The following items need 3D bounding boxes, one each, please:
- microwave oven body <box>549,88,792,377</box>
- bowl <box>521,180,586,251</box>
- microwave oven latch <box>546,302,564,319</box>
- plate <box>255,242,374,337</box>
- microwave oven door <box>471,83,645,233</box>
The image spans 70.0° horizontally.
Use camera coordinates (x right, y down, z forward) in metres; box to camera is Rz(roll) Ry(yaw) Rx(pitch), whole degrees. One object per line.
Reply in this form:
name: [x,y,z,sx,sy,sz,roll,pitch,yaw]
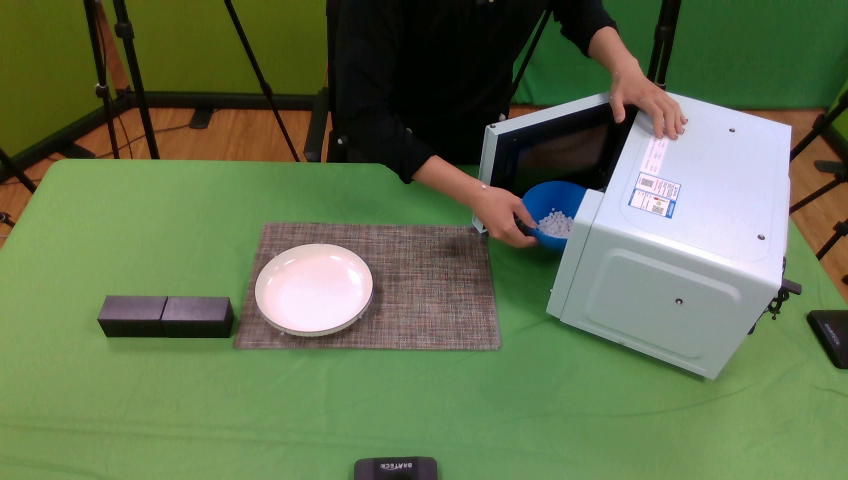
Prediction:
microwave oven body: [0.456,-0.028,1.088,0.325,0.261,0.440,20,47,16]
bowl: [0.254,-0.033,1.143,0.151,0.077,0.150,0,49,0]
microwave oven latch: [0.242,0.102,1.081,0.030,0.029,0.079,22,48,17]
plate: [-0.192,0.090,1.079,0.208,0.039,0.206,2,46,-2]
microwave oven door: [0.264,-0.163,1.197,0.356,0.245,0.039,-19,50,-21]
